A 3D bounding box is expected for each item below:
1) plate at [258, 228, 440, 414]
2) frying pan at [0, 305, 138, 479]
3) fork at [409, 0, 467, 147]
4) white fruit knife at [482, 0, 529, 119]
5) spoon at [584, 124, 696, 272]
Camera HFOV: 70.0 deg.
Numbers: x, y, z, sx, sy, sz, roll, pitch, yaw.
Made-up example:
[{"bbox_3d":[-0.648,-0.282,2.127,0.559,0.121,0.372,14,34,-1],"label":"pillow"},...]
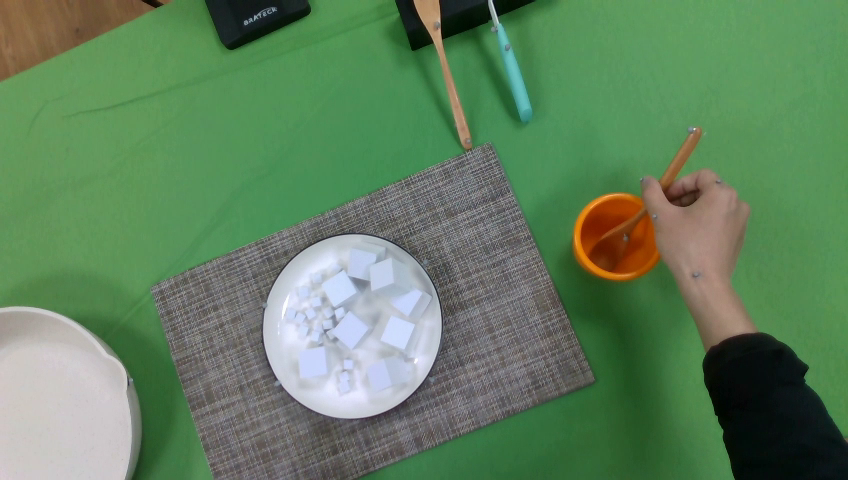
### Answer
[{"bbox_3d":[-0.084,0.091,0.691,0.207,0.039,0.207,-1,84,6],"label":"plate"},{"bbox_3d":[-0.413,0.307,0.667,0.307,0.103,0.484,-30,73,2],"label":"frying pan"},{"bbox_3d":[0.018,-0.208,0.699,0.028,0.018,0.208,-18,100,-4],"label":"fork"},{"bbox_3d":[0.082,-0.240,0.696,0.016,0.027,0.208,-20,97,0],"label":"white fruit knife"},{"bbox_3d":[0.222,-0.037,0.624,0.042,0.195,0.021,9,44,-19],"label":"spoon"}]
